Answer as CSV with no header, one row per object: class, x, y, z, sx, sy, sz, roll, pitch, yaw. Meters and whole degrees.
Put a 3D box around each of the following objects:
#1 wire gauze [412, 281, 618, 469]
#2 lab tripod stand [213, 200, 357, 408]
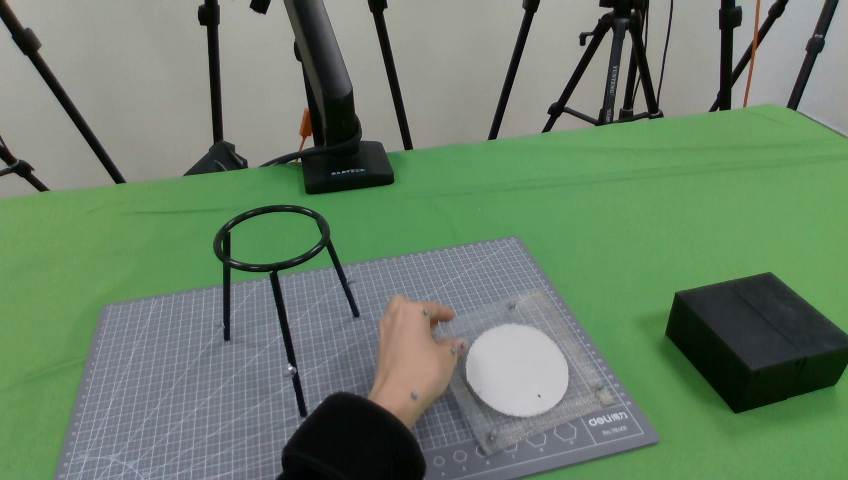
wire gauze,0.075,0.100,0.492,0.121,0.011,0.124,-34,67,-30
lab tripod stand,-0.117,0.046,0.513,0.148,0.132,0.147,1,36,0
